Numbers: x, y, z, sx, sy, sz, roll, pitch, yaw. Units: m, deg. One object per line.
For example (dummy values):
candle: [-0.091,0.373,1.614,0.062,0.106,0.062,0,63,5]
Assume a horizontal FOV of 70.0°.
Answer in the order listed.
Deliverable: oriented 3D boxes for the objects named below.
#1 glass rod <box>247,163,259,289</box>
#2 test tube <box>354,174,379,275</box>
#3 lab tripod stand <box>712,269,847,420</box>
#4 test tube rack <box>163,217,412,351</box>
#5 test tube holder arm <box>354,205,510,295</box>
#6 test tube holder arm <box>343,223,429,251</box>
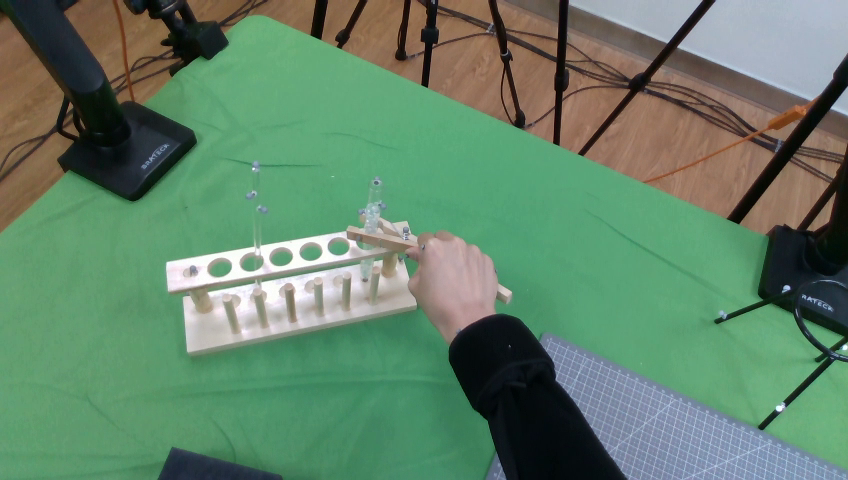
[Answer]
glass rod: [-0.164,-0.001,0.584,0.008,0.201,0.008,7,50,-8]
test tube: [-0.060,-0.010,0.622,0.017,0.151,0.017,5,51,-6]
lab tripod stand: [0.392,0.105,0.640,0.148,0.132,0.147,4,59,-6]
test tube rack: [-0.134,0.046,0.637,0.243,0.086,0.066,-10,60,-14]
test tube holder arm: [0.005,0.008,0.593,0.177,0.015,0.013,26,59,19]
test tube holder arm: [-0.037,-0.003,0.601,0.087,0.015,0.010,10,53,8]
